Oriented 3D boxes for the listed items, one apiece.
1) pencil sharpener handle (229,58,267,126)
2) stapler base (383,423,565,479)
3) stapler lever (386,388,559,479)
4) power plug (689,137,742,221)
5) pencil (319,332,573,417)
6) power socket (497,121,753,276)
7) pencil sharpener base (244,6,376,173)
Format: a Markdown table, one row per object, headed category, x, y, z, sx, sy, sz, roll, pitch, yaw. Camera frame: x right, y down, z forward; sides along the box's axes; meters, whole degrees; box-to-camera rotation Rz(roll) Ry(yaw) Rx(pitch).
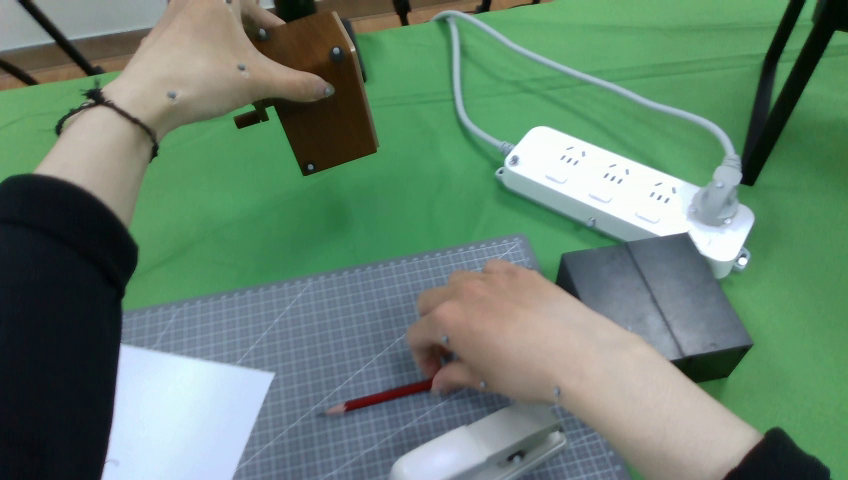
| category | x | y | z | sx | sy | sz | roll | pitch | yaw |
| --- | --- | --- | --- | --- | --- | --- | --- | --- | --- |
| pencil sharpener handle | -0.140 | -0.109 | 0.466 | 0.031 | 0.068 | 0.036 | -21 | 76 | -7 |
| stapler base | 0.032 | 0.143 | 0.398 | 0.131 | 0.024 | 0.041 | -24 | 56 | -17 |
| stapler lever | 0.032 | 0.126 | 0.379 | 0.118 | 0.040 | 0.026 | -24 | 56 | -17 |
| power plug | 0.250 | -0.043 | 0.503 | 0.072 | 0.053 | 0.035 | -39 | 60 | -23 |
| pencil | 0.018 | 0.098 | 0.440 | 0.194 | 0.012 | 0.012 | -15 | 53 | -9 |
| power socket | 0.174 | -0.041 | 0.534 | 0.225 | 0.033 | 0.072 | 28 | 57 | 23 |
| pencil sharpener base | -0.089 | -0.115 | 0.480 | 0.077 | 0.108 | 0.060 | -21 | 55 | -7 |
